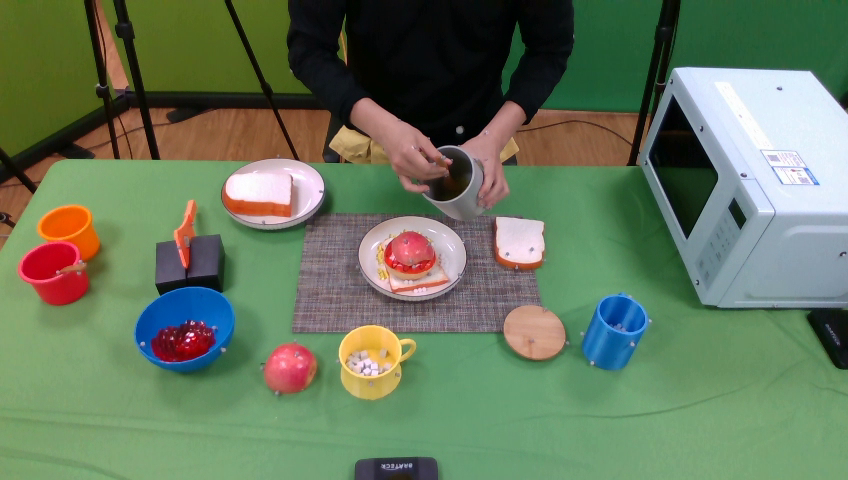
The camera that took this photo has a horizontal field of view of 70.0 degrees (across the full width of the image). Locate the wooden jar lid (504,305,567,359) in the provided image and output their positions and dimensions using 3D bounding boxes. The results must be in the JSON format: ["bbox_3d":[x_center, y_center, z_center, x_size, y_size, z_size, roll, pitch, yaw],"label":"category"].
[{"bbox_3d":[0.192,0.161,1.051,0.108,0.021,0.107,2,50,-3],"label":"wooden jar lid"}]

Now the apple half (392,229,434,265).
[{"bbox_3d":[-0.020,0.005,1.083,0.081,0.033,0.081,7,47,-7],"label":"apple half"}]

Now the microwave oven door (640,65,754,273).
[{"bbox_3d":[0.523,-0.147,1.193,0.039,0.245,0.353,0,47,-3],"label":"microwave oven door"}]

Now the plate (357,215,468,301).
[{"bbox_3d":[-0.022,0.037,1.141,0.208,0.039,0.206,2,46,-2],"label":"plate"}]

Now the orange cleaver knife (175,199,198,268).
[{"bbox_3d":[-0.438,-0.017,1.138,0.012,0.077,0.210,-14,27,-7],"label":"orange cleaver knife"}]

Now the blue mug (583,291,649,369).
[{"bbox_3d":[0.324,0.142,1.023,0.082,0.106,0.116,15,47,11],"label":"blue mug"}]

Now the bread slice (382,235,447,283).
[{"bbox_3d":[-0.024,0.045,1.148,0.107,0.018,0.133,-15,57,-14],"label":"bread slice"}]

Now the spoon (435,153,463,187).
[{"bbox_3d":[0.038,-0.120,1.042,0.041,0.194,0.021,13,81,12],"label":"spoon"}]

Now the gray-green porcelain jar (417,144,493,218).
[{"bbox_3d":[0.060,-0.099,1.074,0.105,0.127,0.105,-5,75,22],"label":"gray-green porcelain jar"}]

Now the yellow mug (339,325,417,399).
[{"bbox_3d":[-0.072,0.190,0.978,0.131,0.064,0.099,-17,50,-20],"label":"yellow mug"}]

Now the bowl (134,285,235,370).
[{"bbox_3d":[-0.377,0.155,0.981,0.151,0.077,0.150,2,46,-2],"label":"bowl"}]

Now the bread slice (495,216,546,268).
[{"bbox_3d":[0.194,0.002,1.204,0.105,0.019,0.131,6,45,2],"label":"bread slice"}]

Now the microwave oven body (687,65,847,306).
[{"bbox_3d":[0.669,-0.111,1.176,0.326,0.261,0.439,0,46,-3],"label":"microwave oven body"}]

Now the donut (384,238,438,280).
[{"bbox_3d":[-0.025,0.029,1.109,0.099,0.048,0.098,2,46,-2],"label":"donut"}]

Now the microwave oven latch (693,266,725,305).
[{"bbox_3d":[0.523,0.082,1.115,0.030,0.029,0.078,3,46,0],"label":"microwave oven latch"}]

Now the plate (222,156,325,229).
[{"bbox_3d":[-0.308,-0.095,1.251,0.209,0.038,0.208,2,47,-2],"label":"plate"}]

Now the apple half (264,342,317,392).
[{"bbox_3d":[-0.214,0.198,0.970,0.074,0.053,0.080,19,48,11],"label":"apple half"}]

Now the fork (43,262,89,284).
[{"bbox_3d":[-0.599,0.053,1.013,0.207,0.019,0.028,-14,30,45],"label":"fork"}]
